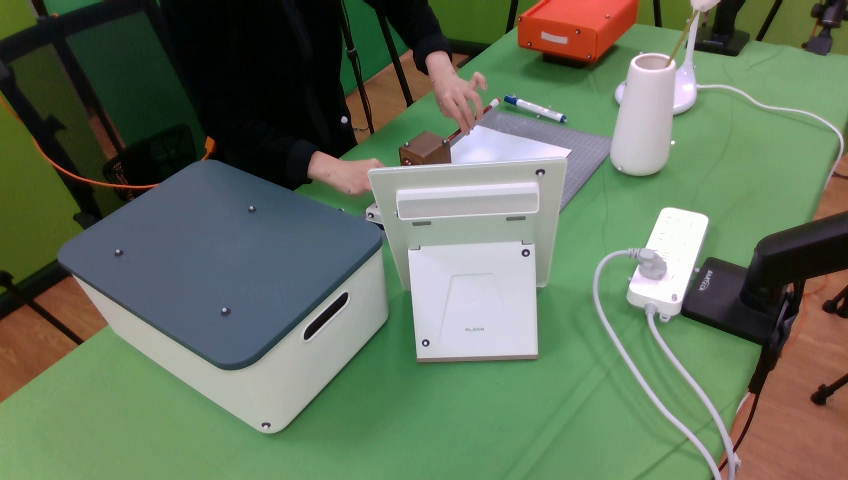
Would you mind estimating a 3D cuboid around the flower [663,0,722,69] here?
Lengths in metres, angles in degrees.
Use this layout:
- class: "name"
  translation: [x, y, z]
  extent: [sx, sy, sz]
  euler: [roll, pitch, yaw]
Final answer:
- class: "flower"
  translation: [0.379, -0.261, 0.965]
  extent: [0.044, 0.362, 0.038]
  euler: [20, 53, 5]

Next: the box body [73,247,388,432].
- class: "box body"
  translation: [-0.255, 0.065, 0.827]
  extent: [0.361, 0.161, 0.255]
  euler: [21, 48, 29]

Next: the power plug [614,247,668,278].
- class: "power plug"
  translation: [0.306, 0.031, 0.851]
  extent: [0.072, 0.053, 0.035]
  euler: [24, 49, 33]

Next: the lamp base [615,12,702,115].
- class: "lamp base"
  translation: [0.484, -0.364, 1.211]
  extent: [0.180, 0.181, 0.159]
  euler: [-15, 41, -14]

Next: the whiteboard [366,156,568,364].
- class: "whiteboard"
  translation: [0.059, 0.050, 0.738]
  extent: [0.217, 0.307, 0.143]
  euler: [-2, 60, 6]

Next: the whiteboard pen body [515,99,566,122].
- class: "whiteboard pen body"
  translation: [0.234, -0.274, 1.262]
  extent: [0.139, 0.017, 0.017]
  euler: [28, 51, 29]

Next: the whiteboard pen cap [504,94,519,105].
- class: "whiteboard pen cap"
  translation: [0.190, -0.299, 1.292]
  extent: [0.033, 0.018, 0.018]
  euler: [30, 52, 28]

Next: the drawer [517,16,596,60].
- class: "drawer"
  translation: [0.352, -0.506, 1.405]
  extent: [0.193, 0.073, 0.212]
  euler: [23, 49, 32]

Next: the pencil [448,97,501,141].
- class: "pencil"
  translation: [0.081, -0.211, 1.095]
  extent: [0.012, 0.012, 0.194]
  euler: [26, 53, 33]

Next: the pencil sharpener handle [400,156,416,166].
- class: "pencil sharpener handle"
  translation: [-0.033, -0.105, 1.015]
  extent: [0.035, 0.068, 0.031]
  euler: [29, 53, 33]

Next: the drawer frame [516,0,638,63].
- class: "drawer frame"
  translation: [0.355, -0.508, 1.410]
  extent: [0.200, 0.083, 0.214]
  euler: [23, 51, 32]

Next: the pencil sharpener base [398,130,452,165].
- class: "pencil sharpener base"
  translation: [0.004, -0.123, 1.049]
  extent: [0.061, 0.107, 0.077]
  euler: [28, 52, 34]

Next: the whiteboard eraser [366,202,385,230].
- class: "whiteboard eraser"
  translation: [-0.038, -0.038, 1.006]
  extent: [0.112, 0.042, 0.055]
  euler: [17, 47, 25]

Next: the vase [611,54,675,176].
- class: "vase"
  translation: [0.377, -0.209, 1.031]
  extent: [0.098, 0.201, 0.097]
  euler: [-3, 40, 3]

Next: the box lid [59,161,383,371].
- class: "box lid"
  translation: [-0.262, 0.010, 0.777]
  extent: [0.369, 0.015, 0.264]
  euler: [21, 48, 29]

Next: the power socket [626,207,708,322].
- class: "power socket"
  translation: [0.359, 0.025, 0.886]
  extent: [0.072, 0.033, 0.227]
  euler: [16, 46, 26]
